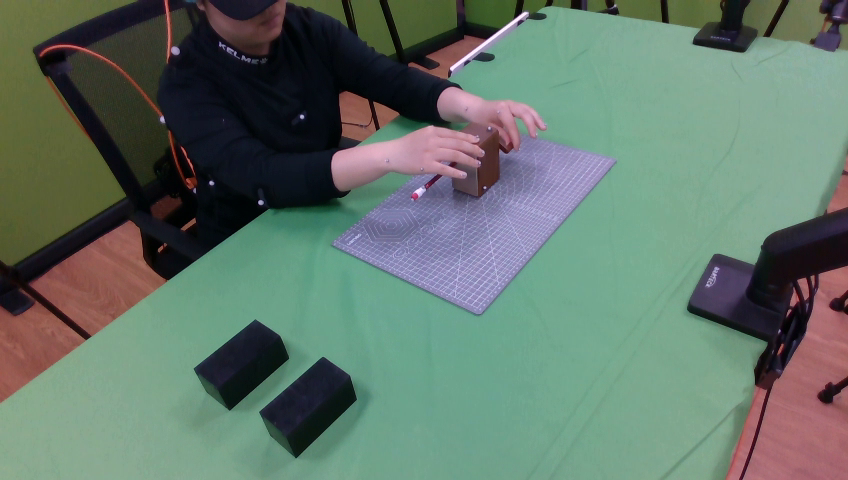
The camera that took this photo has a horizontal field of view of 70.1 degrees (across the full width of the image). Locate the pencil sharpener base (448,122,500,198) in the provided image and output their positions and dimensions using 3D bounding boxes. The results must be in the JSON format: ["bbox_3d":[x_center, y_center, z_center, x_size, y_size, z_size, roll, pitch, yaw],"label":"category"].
[{"bbox_3d":[0.090,-0.140,1.052,0.061,0.107,0.077,21,48,30],"label":"pencil sharpener base"}]

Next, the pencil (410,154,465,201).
[{"bbox_3d":[0.038,-0.117,0.987,0.012,0.012,0.194,21,47,30],"label":"pencil"}]

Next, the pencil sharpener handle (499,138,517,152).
[{"bbox_3d":[0.129,-0.180,1.061,0.067,0.036,0.031,38,54,10],"label":"pencil sharpener handle"}]
